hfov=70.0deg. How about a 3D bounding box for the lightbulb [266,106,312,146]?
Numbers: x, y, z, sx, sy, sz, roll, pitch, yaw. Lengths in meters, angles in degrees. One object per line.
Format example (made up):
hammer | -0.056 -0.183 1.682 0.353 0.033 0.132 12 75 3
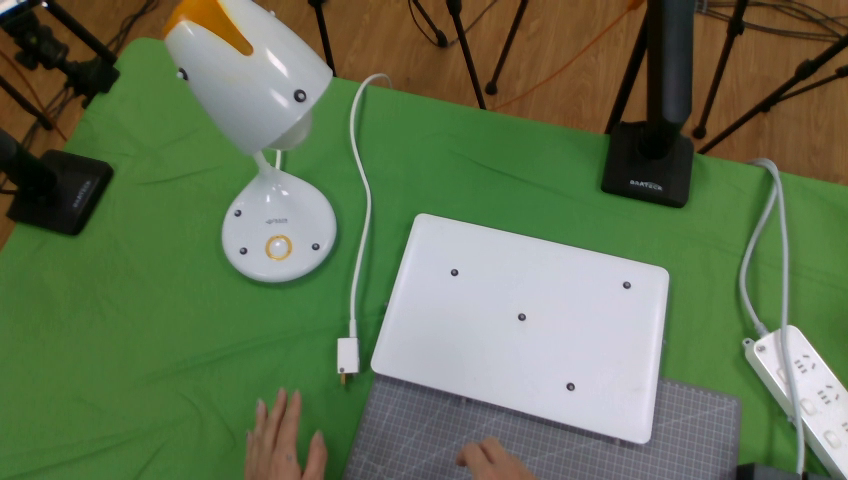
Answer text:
lightbulb | -0.142 -0.132 0.529 0.059 0.109 0.059 -23 33 16

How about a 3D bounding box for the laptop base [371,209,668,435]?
laptop base | 0.129 0.098 0.799 0.354 0.023 0.234 13 69 7

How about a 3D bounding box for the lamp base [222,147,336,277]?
lamp base | -0.211 -0.065 0.792 0.161 0.181 0.177 -15 63 -5

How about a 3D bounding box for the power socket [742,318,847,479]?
power socket | 0.483 0.197 0.734 0.072 0.033 0.225 -25 67 -10

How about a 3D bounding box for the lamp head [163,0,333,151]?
lamp head | -0.158 -0.156 0.520 0.124 0.111 0.112 45 69 -25

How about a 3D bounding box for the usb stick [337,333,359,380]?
usb stick | -0.097 0.150 0.777 0.027 0.021 0.059 0 76 1

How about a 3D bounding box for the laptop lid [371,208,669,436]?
laptop lid | 0.128 0.095 0.787 0.356 0.013 0.240 14 68 8
